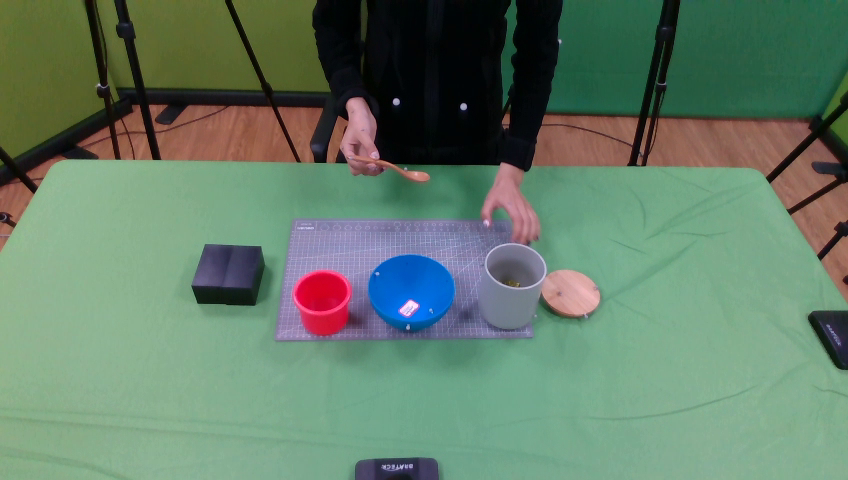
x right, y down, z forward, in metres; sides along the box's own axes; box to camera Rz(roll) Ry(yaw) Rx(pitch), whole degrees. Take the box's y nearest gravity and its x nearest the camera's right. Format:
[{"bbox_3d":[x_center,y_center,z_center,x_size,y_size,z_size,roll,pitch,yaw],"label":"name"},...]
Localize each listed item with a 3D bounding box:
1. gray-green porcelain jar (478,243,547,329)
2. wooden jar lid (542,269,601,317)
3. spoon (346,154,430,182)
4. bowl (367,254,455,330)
[{"bbox_3d":[0.150,0.085,1.049,0.106,0.127,0.105,2,46,-2],"label":"gray-green porcelain jar"},{"bbox_3d":[0.272,0.100,1.121,0.108,0.021,0.107,2,46,-2],"label":"wooden jar lid"},{"bbox_3d":[-0.065,-0.138,1.130,0.195,0.021,0.041,14,25,-42],"label":"spoon"},{"bbox_3d":[-0.023,0.104,1.053,0.151,0.077,0.150,2,46,-2],"label":"bowl"}]
